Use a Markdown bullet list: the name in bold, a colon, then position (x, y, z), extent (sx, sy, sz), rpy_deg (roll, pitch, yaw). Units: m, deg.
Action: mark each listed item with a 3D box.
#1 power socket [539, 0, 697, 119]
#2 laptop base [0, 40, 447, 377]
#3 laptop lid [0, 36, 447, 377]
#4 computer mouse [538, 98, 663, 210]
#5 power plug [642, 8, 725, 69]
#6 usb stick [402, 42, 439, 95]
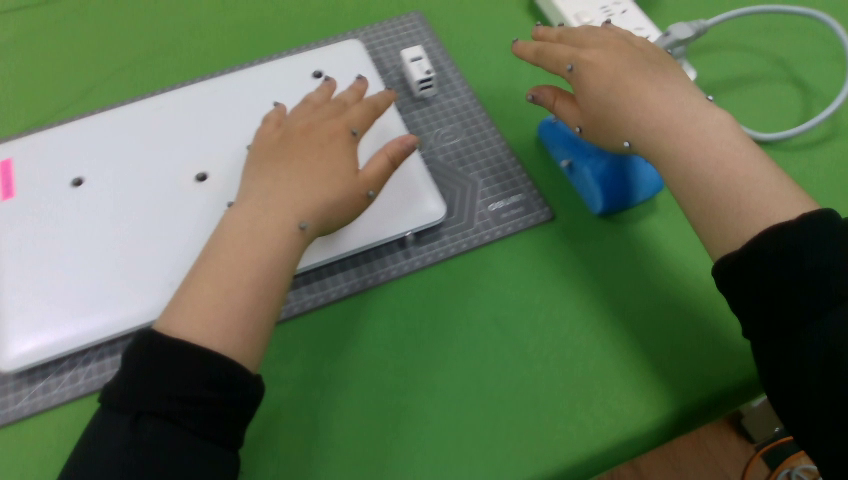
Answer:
- **power socket**: position (0.178, -0.206, 0.586), extent (0.072, 0.033, 0.224), rpy_deg (-19, 58, -6)
- **laptop base**: position (-0.183, -0.046, 0.522), extent (0.355, 0.023, 0.233), rpy_deg (-20, 61, -9)
- **laptop lid**: position (-0.183, -0.051, 0.511), extent (0.357, 0.013, 0.239), rpy_deg (-19, 60, -7)
- **computer mouse**: position (0.145, -0.079, 0.505), extent (0.063, 0.041, 0.116), rpy_deg (-21, 54, -6)
- **power plug**: position (0.229, -0.169, 0.533), extent (0.072, 0.053, 0.035), rpy_deg (-10, 59, -2)
- **usb stick**: position (-0.006, -0.168, 0.577), extent (0.021, 0.027, 0.058), rpy_deg (-21, 56, -4)
